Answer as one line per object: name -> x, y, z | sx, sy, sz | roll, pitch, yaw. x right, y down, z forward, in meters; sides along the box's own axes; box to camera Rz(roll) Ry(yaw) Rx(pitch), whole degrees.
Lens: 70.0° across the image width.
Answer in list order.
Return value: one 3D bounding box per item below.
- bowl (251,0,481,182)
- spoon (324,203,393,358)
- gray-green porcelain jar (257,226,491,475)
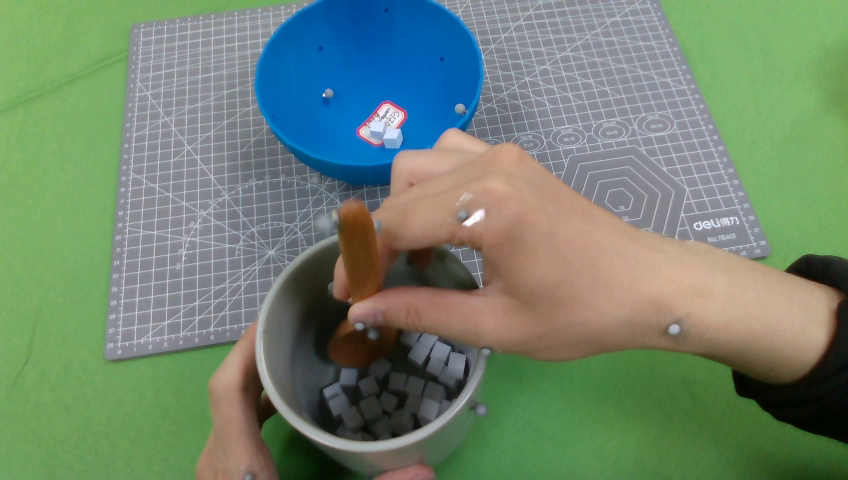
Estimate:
bowl -> -0.036, -0.095, 0.428 | 0.151, 0.077, 0.150 | -1, 64, 2
spoon -> -0.029, 0.028, 0.278 | 0.042, 0.194, 0.021 | -17, 73, -12
gray-green porcelain jar -> -0.020, 0.067, 0.325 | 0.106, 0.127, 0.105 | -1, 63, 2
